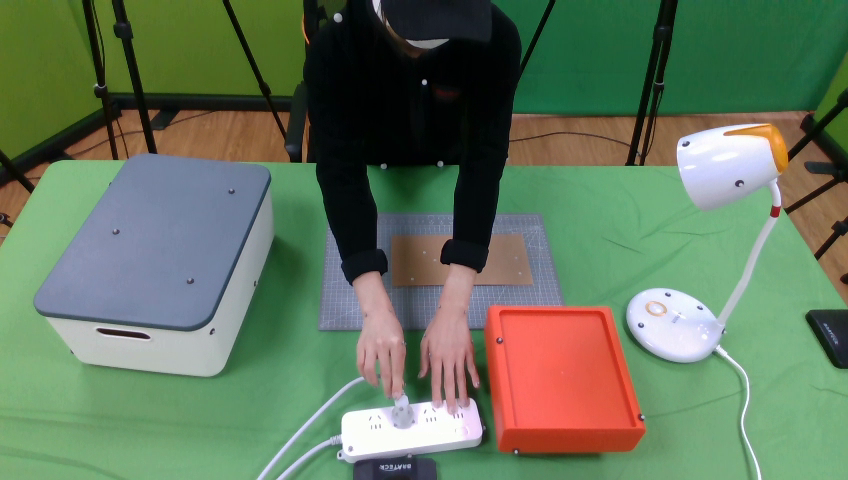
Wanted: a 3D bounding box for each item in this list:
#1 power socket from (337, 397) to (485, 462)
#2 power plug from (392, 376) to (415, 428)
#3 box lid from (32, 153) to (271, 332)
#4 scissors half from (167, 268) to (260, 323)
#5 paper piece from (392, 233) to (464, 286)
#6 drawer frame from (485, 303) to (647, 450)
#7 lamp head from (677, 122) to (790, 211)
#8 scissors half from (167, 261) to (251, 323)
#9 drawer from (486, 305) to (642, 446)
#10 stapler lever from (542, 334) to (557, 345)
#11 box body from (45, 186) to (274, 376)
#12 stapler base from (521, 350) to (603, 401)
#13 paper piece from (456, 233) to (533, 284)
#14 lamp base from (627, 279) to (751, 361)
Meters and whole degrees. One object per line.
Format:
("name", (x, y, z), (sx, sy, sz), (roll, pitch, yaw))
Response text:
("power socket", (-0.018, 0.285, 0.915), (0.227, 0.033, 0.071), (-4, 46, -8))
("power plug", (-0.030, 0.249, 0.917), (0.035, 0.053, 0.072), (3, 46, 0))
("box lid", (-0.417, -0.015, 0.980), (0.263, 0.015, 0.369), (6, 46, 1))
("scissors half", (-0.369, 0.101, 1.069), (0.175, 0.013, 0.040), (-29, 51, -21))
("paper piece", (0.005, 0.036, 1.168), (0.135, 0.004, 0.135), (3, 45, -4))
("drawer frame", (0.204, 0.202, 0.917), (0.202, 0.083, 0.212), (1, 47, -4))
("lamp head", (0.423, -0.104, 0.819), (0.122, 0.113, 0.112), (-13, 33, 39))
("scissors half", (-0.383, 0.091, 1.080), (0.040, 0.013, 0.175), (24, 51, 32))
("drawer", (0.202, 0.201, 0.919), (0.195, 0.073, 0.210), (2, 47, -4))
("stapler lever", (0.225, 0.181, 0.928), (0.118, 0.040, 0.027), (27, 34, 15))
("box body", (-0.421, 0.037, 1.031), (0.254, 0.161, 0.362), (6, 46, 1))
("stapler base", (0.217, 0.203, 0.942), (0.130, 0.024, 0.041), (26, 33, 16))
("paper piece", (0.136, 0.035, 1.182), (0.136, 0.009, 0.137), (2, 45, -6))
("lamp base", (0.460, 0.100, 1.027), (0.178, 0.181, 0.160), (27, 51, 17))
